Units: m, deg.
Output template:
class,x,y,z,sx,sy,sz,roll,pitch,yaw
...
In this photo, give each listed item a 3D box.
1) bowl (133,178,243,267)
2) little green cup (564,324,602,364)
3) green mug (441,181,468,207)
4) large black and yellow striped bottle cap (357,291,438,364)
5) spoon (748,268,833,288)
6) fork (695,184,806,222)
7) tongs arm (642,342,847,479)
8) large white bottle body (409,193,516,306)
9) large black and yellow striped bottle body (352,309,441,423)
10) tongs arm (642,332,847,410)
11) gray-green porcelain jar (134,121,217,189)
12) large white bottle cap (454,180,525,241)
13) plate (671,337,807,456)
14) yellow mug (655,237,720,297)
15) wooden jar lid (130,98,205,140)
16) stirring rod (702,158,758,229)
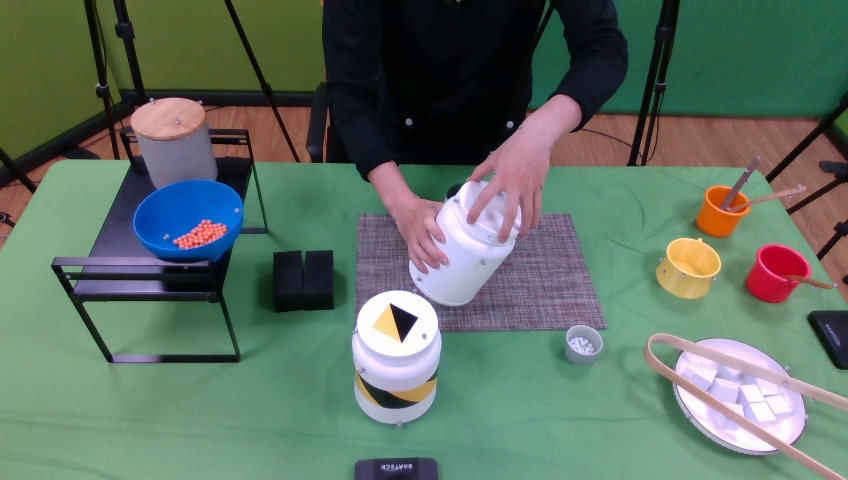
class,x,y,z,sx,sy,sz,roll,pitch,yaw
bowl,-0.339,-0.013,0.895,0.151,0.077,0.150,2,46,-2
little green cup,0.269,0.179,1.035,0.061,0.039,0.061,3,45,-2
green mug,0.071,-0.039,1.178,0.092,0.105,0.124,12,47,7
large black and yellow striped bottle cap,-0.037,0.121,0.851,0.115,0.019,0.114,1,46,-1
spoon,0.660,0.068,1.097,0.041,0.193,0.021,-4,91,-6
fork,0.658,-0.074,1.229,0.207,0.019,0.028,-23,35,37
tongs arm,0.504,0.279,0.918,0.386,0.028,0.028,34,59,22
large white bottle body,0.067,0.006,0.988,0.131,0.185,0.130,17,44,-17
large black and yellow striped bottle body,-0.042,0.178,0.912,0.131,0.185,0.130,2,46,-2
tongs arm,0.546,0.227,0.968,0.384,0.026,0.050,22,52,13
gray-green porcelain jar,-0.397,-0.141,0.979,0.106,0.127,0.105,2,47,-2
large white bottle cap,0.101,-0.046,0.931,0.115,0.018,0.114,17,44,-17
plate,0.504,0.254,0.984,0.208,0.039,0.206,2,46,-2
yellow mug,0.509,0.041,1.167,0.099,0.064,0.130,24,48,18
wooden jar lid,-0.393,-0.183,0.934,0.108,0.021,0.107,3,44,-2
stirring rod,0.634,-0.096,1.257,0.014,0.006,0.176,38,97,29
